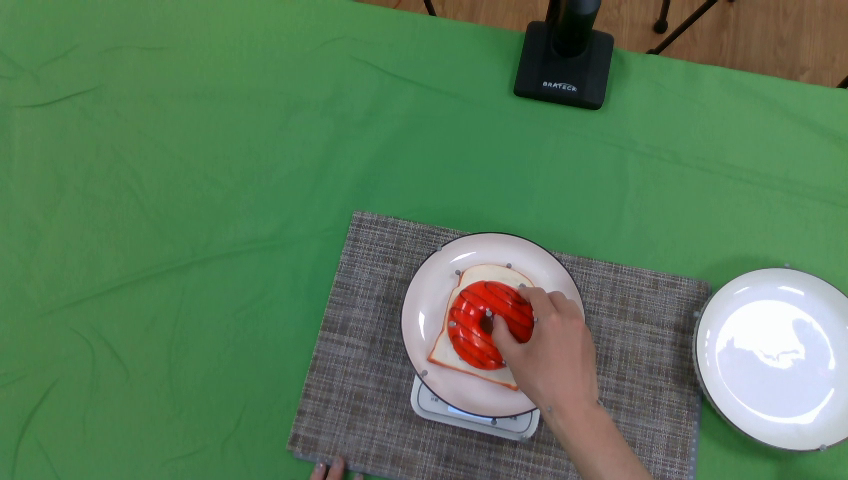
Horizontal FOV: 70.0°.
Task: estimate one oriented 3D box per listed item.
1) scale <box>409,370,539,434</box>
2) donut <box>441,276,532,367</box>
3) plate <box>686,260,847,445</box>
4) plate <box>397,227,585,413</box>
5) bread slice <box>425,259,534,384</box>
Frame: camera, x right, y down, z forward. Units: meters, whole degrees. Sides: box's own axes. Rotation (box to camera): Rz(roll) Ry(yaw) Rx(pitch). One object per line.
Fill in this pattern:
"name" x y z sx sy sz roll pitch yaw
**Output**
"scale" 0.072 0.115 0.712 0.148 0.032 0.200 12 75 5
"donut" 0.068 0.088 0.657 0.099 0.048 0.098 0 78 -1
"plate" 0.405 0.128 0.699 0.207 0.039 0.206 0 74 2
"plate" 0.074 0.088 0.685 0.209 0.038 0.208 0 74 1
"bread slice" 0.069 0.086 0.688 0.105 0.019 0.131 16 76 4
